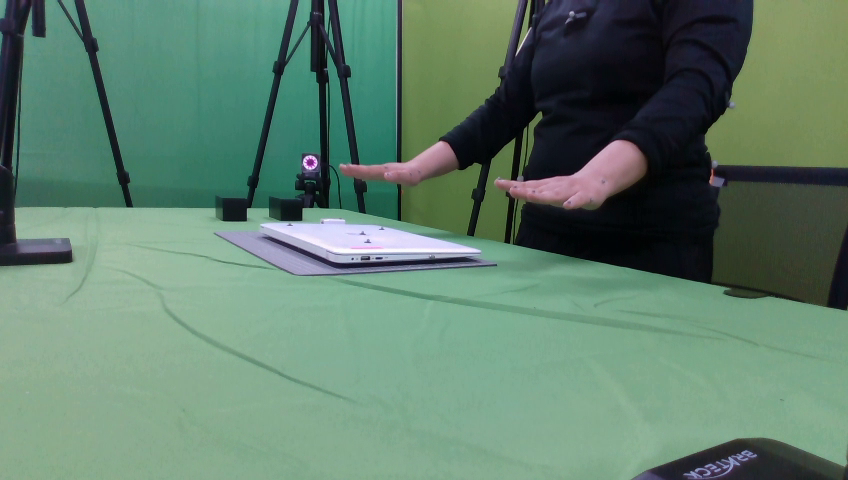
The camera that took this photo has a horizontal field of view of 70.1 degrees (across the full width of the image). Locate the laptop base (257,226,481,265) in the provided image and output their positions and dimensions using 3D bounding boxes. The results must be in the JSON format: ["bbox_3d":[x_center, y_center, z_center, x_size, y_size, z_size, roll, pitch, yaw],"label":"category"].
[{"bbox_3d":[-0.102,0.006,0.962,0.237,0.023,0.352,2,6,-32],"label":"laptop base"}]

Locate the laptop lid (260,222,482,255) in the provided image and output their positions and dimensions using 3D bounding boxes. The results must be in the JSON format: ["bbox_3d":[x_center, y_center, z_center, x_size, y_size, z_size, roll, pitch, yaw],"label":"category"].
[{"bbox_3d":[-0.100,-0.005,0.962,0.243,0.013,0.355,1,7,-30],"label":"laptop lid"}]

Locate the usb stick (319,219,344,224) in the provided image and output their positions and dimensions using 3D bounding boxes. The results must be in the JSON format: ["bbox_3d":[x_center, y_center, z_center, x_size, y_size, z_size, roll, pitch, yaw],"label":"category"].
[{"bbox_3d":[-0.183,-0.027,1.153,0.059,0.027,0.021,-5,13,-30],"label":"usb stick"}]
